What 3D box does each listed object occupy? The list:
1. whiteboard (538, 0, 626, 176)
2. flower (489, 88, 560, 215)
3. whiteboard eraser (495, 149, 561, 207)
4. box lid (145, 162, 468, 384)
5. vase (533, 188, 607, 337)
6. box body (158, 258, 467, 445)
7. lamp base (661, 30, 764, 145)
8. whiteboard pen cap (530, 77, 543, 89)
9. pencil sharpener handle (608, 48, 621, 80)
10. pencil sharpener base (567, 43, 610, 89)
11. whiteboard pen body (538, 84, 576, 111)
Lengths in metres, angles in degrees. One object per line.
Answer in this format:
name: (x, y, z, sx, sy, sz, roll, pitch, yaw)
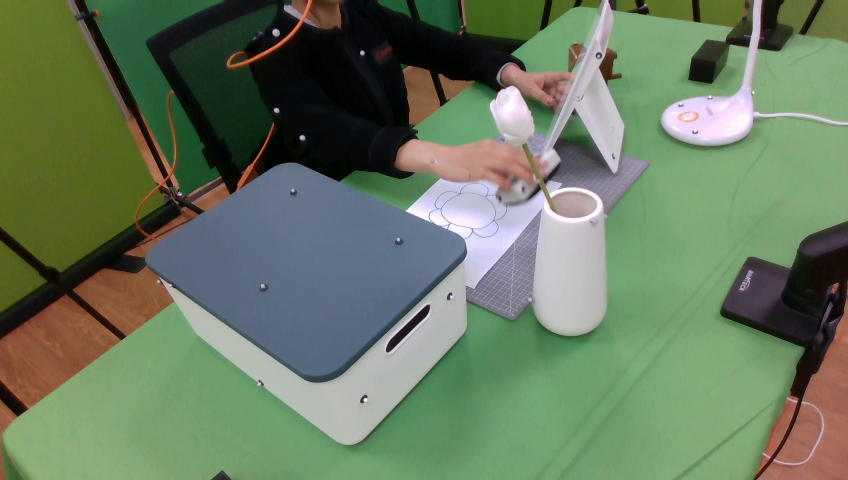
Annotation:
whiteboard: (0.320, -0.259, 1.050, 0.144, 0.306, 0.217, 22, 45, 6)
flower: (0.158, -0.027, 0.720, 0.038, 0.364, 0.044, -14, 44, 23)
whiteboard eraser: (0.161, -0.092, 0.923, 0.055, 0.042, 0.113, 1, 39, 50)
box lid: (-0.158, 0.014, 0.769, 0.368, 0.015, 0.264, 25, 51, 33)
vase: (0.187, 0.033, 0.771, 0.098, 0.201, 0.097, -6, 41, 6)
box body: (-0.147, 0.072, 0.816, 0.361, 0.161, 0.255, 24, 50, 33)
lamp base: (0.535, -0.287, 1.096, 0.179, 0.181, 0.159, -10, 40, -4)
whiteboard pen cap: (0.248, -0.344, 1.328, 0.018, 0.018, 0.033, -24, 47, -17)
pencil sharpener handle: (0.394, -0.367, 1.253, 0.030, 0.068, 0.036, -8, 32, 1)
pencil sharpener base: (0.345, -0.352, 1.263, 0.077, 0.107, 0.061, -8, 40, 1)
whiteboard pen body: (0.280, -0.309, 1.290, 0.017, 0.017, 0.139, -25, 45, -18)
